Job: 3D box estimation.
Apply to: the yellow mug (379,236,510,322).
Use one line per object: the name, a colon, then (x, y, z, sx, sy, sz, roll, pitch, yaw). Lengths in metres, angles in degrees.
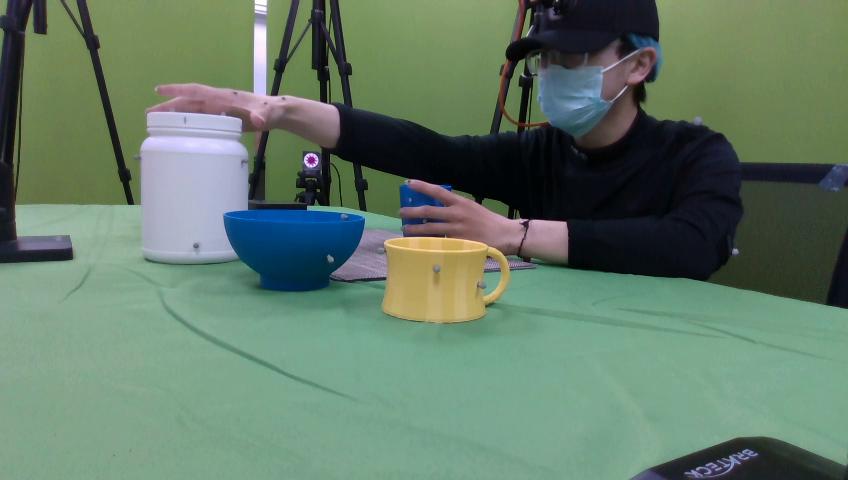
yellow mug: (0.024, 0.034, 0.575, 0.131, 0.064, 0.099, 1, 7, -22)

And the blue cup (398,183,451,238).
blue cup: (0.000, -0.038, 0.965, 0.093, 0.100, 0.092, 1, 9, 0)

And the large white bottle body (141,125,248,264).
large white bottle body: (-0.300, -0.067, 0.797, 0.131, 0.184, 0.130, 2, 7, 0)

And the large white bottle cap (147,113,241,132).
large white bottle cap: (-0.297, -0.151, 0.786, 0.115, 0.018, 0.115, 2, 7, 0)

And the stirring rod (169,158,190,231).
stirring rod: (-0.427, -0.083, 1.059, 0.014, 0.006, 0.175, 2, 49, -13)

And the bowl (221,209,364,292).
bowl: (-0.142, 0.011, 0.660, 0.151, 0.077, 0.151, 2, 8, 0)

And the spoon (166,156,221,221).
spoon: (-0.447, -0.104, 1.192, 0.041, 0.021, 0.193, 8, 52, 13)
